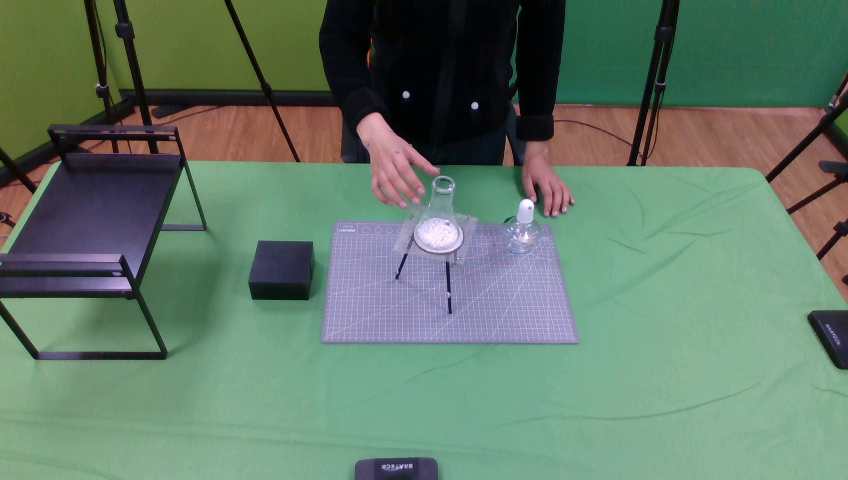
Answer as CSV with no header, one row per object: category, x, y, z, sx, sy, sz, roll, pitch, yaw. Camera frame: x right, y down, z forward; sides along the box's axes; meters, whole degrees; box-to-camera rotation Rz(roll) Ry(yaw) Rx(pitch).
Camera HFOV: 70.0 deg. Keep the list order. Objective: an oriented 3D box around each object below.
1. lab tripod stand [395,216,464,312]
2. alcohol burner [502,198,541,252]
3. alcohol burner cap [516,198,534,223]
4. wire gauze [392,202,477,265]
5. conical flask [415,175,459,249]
lab tripod stand,0.023,0.036,1.084,0.148,0.132,0.147,4,46,-4
alcohol burner,0.192,-0.034,1.178,0.078,0.119,0.077,2,45,-2
alcohol burner cap,0.194,-0.059,1.152,0.034,0.048,0.033,0,51,1
wire gauze,0.021,-0.011,1.037,0.121,0.011,0.124,13,49,9
conical flask,0.026,-0.049,0.993,0.075,0.122,0.075,3,47,-3
